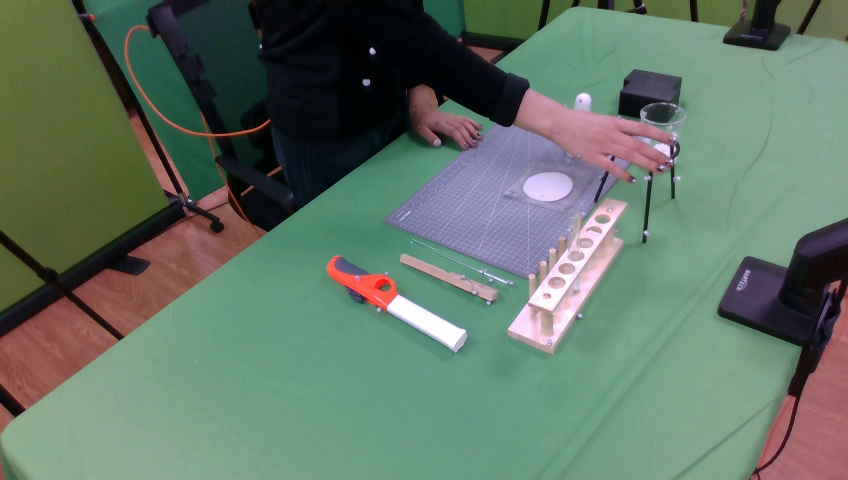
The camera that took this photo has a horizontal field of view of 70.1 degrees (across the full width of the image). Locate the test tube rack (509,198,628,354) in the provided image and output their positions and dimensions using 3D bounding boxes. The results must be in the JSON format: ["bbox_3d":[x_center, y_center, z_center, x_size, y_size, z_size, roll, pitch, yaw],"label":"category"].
[{"bbox_3d":[0.206,0.039,0.850,0.066,0.085,0.243,20,48,31],"label":"test tube rack"}]

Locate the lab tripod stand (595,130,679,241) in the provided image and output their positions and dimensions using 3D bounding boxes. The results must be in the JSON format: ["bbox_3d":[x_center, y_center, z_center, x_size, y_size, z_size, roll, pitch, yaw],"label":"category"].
[{"bbox_3d":[0.342,-0.095,0.943,0.148,0.132,0.147,-4,39,4],"label":"lab tripod stand"}]

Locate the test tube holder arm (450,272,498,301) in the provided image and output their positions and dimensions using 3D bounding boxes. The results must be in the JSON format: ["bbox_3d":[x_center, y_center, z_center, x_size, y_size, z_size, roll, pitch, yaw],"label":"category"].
[{"bbox_3d":[0.070,0.068,0.895,0.087,0.015,0.010,22,14,32],"label":"test tube holder arm"}]

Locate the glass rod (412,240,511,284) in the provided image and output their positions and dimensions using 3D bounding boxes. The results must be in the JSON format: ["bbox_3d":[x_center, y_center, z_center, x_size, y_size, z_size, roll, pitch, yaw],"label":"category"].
[{"bbox_3d":[0.054,0.033,0.947,0.198,0.008,0.008,23,50,36],"label":"glass rod"}]

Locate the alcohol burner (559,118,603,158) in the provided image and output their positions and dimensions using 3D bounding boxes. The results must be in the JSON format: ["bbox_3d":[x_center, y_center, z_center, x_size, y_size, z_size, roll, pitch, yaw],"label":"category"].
[{"bbox_3d":[0.288,-0.212,1.104,0.078,0.119,0.077,-4,41,4],"label":"alcohol burner"}]

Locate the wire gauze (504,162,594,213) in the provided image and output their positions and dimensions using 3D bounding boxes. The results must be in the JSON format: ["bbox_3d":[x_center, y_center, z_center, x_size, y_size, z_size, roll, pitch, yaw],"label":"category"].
[{"bbox_3d":[0.220,-0.098,1.065,0.124,0.011,0.122,17,47,32],"label":"wire gauze"}]

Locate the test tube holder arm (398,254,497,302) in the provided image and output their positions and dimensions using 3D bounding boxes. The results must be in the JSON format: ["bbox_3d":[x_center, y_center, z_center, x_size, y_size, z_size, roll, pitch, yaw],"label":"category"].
[{"bbox_3d":[0.031,0.055,0.913,0.177,0.015,0.013,21,14,30],"label":"test tube holder arm"}]

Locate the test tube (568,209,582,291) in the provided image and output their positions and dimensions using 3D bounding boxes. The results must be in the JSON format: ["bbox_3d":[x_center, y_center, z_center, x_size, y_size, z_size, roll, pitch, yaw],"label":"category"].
[{"bbox_3d":[0.200,0.017,0.799,0.017,0.151,0.017,-8,45,8],"label":"test tube"}]

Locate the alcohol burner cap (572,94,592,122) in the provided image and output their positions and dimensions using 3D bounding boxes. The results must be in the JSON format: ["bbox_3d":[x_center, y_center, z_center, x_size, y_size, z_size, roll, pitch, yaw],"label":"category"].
[{"bbox_3d":[0.284,-0.238,1.079,0.034,0.048,0.033,-1,48,2],"label":"alcohol burner cap"}]

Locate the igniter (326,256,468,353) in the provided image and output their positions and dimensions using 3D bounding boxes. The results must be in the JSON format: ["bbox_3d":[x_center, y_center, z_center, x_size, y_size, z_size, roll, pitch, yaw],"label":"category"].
[{"bbox_3d":[-0.050,0.088,0.886,0.274,0.025,0.057,26,61,35],"label":"igniter"}]

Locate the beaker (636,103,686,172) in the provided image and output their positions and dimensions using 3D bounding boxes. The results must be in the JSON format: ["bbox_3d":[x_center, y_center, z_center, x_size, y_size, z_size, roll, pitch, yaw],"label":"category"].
[{"bbox_3d":[0.413,-0.177,1.055,0.084,0.101,0.073,-28,43,-21],"label":"beaker"}]
